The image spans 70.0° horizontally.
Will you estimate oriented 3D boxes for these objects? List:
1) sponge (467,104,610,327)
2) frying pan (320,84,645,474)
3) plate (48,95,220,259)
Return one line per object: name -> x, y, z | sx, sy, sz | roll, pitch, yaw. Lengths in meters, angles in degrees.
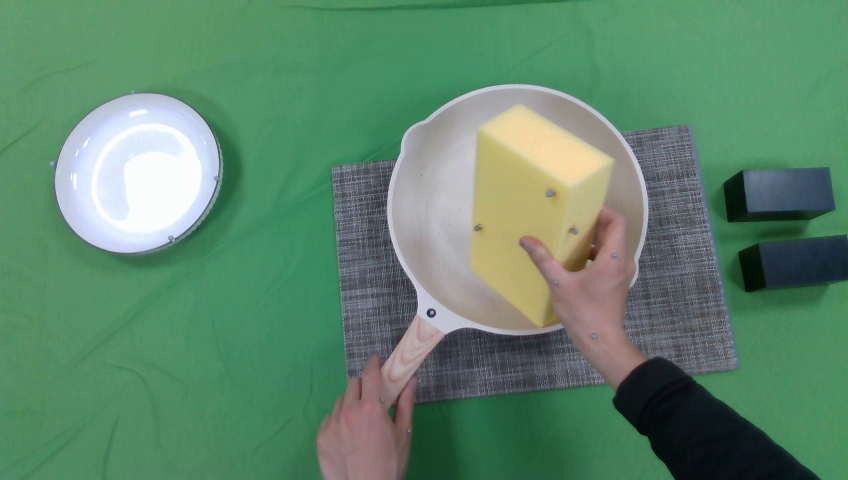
sponge -> 0.108, -0.018, 0.628 | 0.061, 0.209, 0.117 | -33, 54, -26
frying pan -> 0.040, 0.045, 0.679 | 0.306, 0.103, 0.487 | 35, 74, 9
plate -> -0.354, -0.076, 0.754 | 0.207, 0.039, 0.206 | 0, 79, 2
